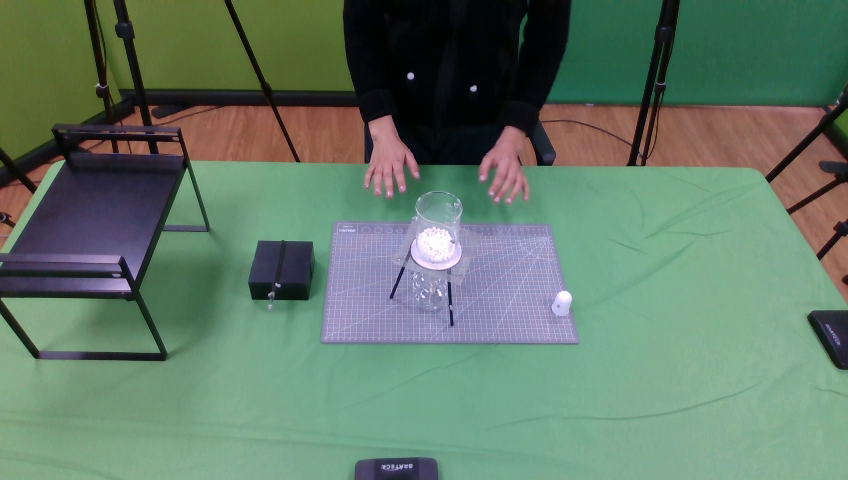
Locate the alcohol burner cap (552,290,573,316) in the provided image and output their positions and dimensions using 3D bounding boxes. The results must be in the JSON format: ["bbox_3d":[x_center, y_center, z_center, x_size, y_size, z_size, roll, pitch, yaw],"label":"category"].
[{"bbox_3d":[0.250,0.109,1.088,0.034,0.048,0.033,3,46,-3],"label":"alcohol burner cap"}]

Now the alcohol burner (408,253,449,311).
[{"bbox_3d":[0.011,0.069,1.061,0.078,0.120,0.077,1,46,0],"label":"alcohol burner"}]

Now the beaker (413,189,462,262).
[{"bbox_3d":[0.022,-0.018,0.973,0.074,0.101,0.083,-19,51,-19],"label":"beaker"}]

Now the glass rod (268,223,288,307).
[{"bbox_3d":[-0.259,0.041,1.080,0.008,0.008,0.198,2,46,-2],"label":"glass rod"}]

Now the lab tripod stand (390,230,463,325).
[{"bbox_3d":[0.014,0.060,1.056,0.148,0.132,0.147,1,48,-1],"label":"lab tripod stand"}]

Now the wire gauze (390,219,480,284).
[{"bbox_3d":[0.020,0.013,1.011,0.125,0.011,0.121,14,46,14],"label":"wire gauze"}]
